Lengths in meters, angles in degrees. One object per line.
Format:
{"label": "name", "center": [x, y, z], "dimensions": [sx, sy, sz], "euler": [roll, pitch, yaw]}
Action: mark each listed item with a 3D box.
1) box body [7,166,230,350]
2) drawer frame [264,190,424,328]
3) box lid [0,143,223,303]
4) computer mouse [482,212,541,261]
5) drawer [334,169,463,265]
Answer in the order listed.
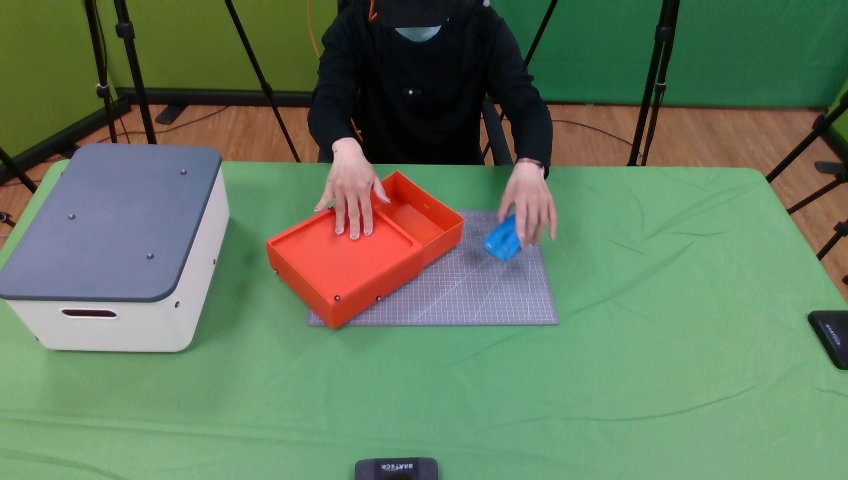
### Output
{"label": "box body", "center": [-0.502, 0.008, 1.054], "dimensions": [0.254, 0.161, 0.361], "euler": [1, 46, -3]}
{"label": "drawer frame", "center": [-0.144, 0.028, 1.114], "dimensions": [0.213, 0.083, 0.200], "euler": [-34, 57, -30]}
{"label": "box lid", "center": [-0.499, -0.045, 1.002], "dimensions": [0.263, 0.015, 0.369], "euler": [2, 46, -3]}
{"label": "computer mouse", "center": [0.165, -0.010, 1.135], "dimensions": [0.117, 0.041, 0.062], "euler": [-37, 56, -27]}
{"label": "drawer", "center": [-0.066, -0.024, 1.169], "dimensions": [0.211, 0.073, 0.193], "euler": [-35, 59, -30]}
